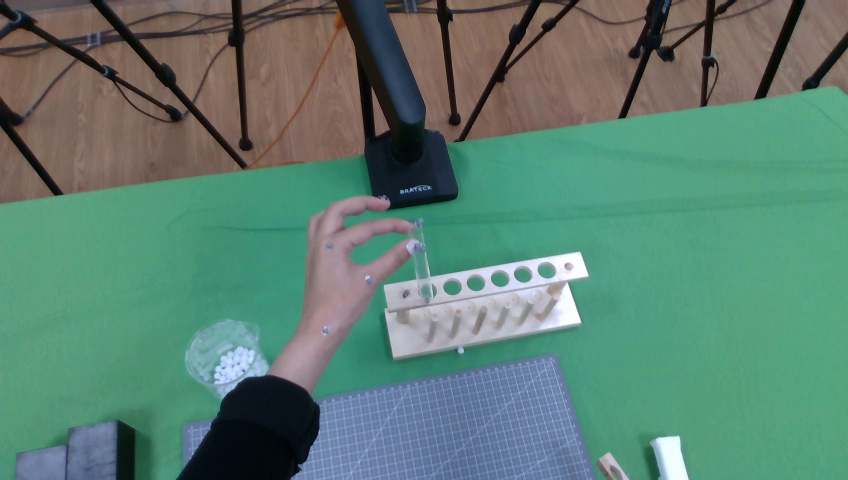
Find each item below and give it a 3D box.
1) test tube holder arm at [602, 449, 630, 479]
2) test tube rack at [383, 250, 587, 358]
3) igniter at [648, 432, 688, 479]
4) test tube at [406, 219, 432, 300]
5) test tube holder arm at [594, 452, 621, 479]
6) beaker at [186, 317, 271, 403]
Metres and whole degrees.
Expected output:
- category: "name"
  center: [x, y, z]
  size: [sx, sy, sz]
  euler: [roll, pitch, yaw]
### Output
- category: "test tube holder arm"
  center: [0.235, 0.289, 0.604]
  size: [0.013, 0.015, 0.176]
  euler: [-26, 59, -17]
- category: "test tube rack"
  center: [0.075, 0.079, 0.740]
  size: [0.243, 0.086, 0.066]
  euler: [-9, 63, -8]
- category: "igniter"
  center: [0.290, 0.347, 0.644]
  size: [0.057, 0.025, 0.274]
  euler: [1, 62, -14]
- category: "test tube"
  center: [-0.004, 0.025, 0.623]
  size: [0.017, 0.151, 0.017]
  euler: [-2, 59, 4]
- category: "test tube holder arm"
  center: [0.207, 0.260, 0.625]
  size: [0.010, 0.015, 0.087]
  euler: [-26, 59, -16]
- category: "beaker"
  center: [-0.214, 0.138, 0.685]
  size: [0.073, 0.101, 0.084]
  euler: [41, 67, 17]
